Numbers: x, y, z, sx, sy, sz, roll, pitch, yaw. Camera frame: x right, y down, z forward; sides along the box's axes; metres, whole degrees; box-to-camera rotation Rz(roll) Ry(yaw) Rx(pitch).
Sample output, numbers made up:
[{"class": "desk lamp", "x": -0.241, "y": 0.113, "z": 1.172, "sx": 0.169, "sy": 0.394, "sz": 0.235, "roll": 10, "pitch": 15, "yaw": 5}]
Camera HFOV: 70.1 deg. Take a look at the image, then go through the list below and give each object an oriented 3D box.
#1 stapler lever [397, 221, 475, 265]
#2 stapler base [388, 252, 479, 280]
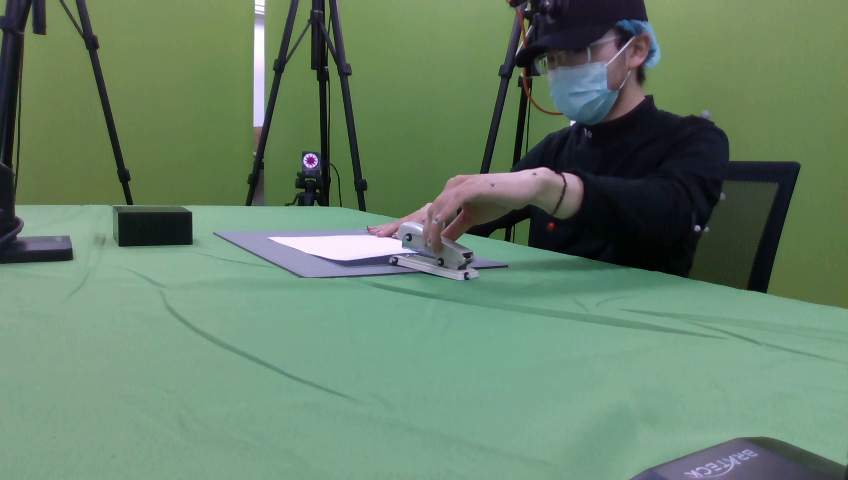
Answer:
[{"class": "stapler lever", "x": 0.013, "y": 0.003, "z": 0.773, "sx": 0.117, "sy": 0.040, "sz": 0.027, "roll": 13, "pitch": 16, "yaw": 40}, {"class": "stapler base", "x": 0.010, "y": 0.026, "z": 0.778, "sx": 0.130, "sy": 0.024, "sz": 0.041, "roll": 14, "pitch": 16, "yaw": 40}]
